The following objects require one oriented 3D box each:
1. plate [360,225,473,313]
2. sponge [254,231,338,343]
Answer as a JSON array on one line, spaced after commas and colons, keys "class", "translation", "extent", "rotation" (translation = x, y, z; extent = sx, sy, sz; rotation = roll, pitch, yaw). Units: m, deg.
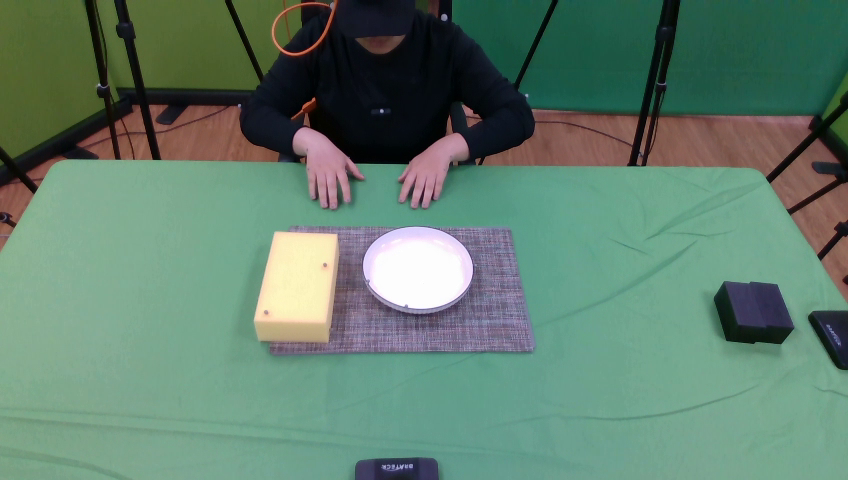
[{"class": "plate", "translation": [-0.014, 0.057, 1.126], "extent": [0.208, 0.039, 0.206], "rotation": [2, 46, -2]}, {"class": "sponge", "translation": [-0.221, 0.079, 1.073], "extent": [0.118, 0.061, 0.205], "rotation": [1, 46, -3]}]
